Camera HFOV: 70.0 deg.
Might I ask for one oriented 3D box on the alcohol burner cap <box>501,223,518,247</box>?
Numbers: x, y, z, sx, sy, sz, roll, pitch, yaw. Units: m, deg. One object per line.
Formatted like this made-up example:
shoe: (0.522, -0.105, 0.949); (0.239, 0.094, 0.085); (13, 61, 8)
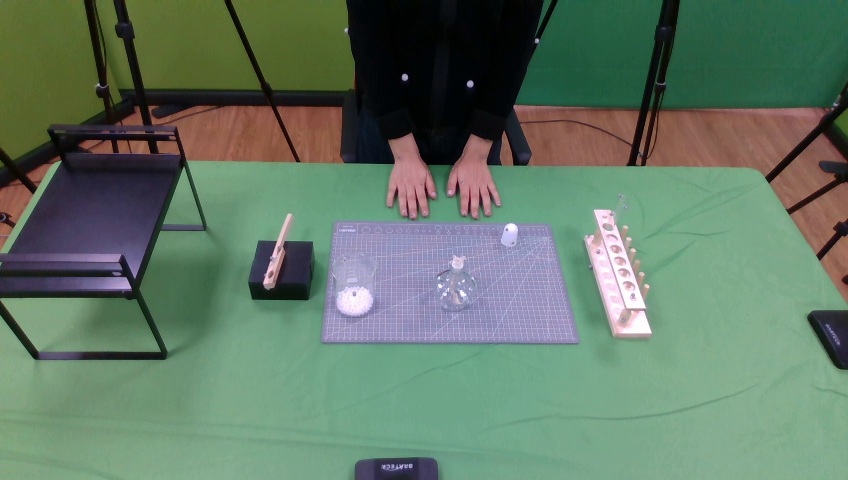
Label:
alcohol burner cap: (0.172, -0.013, 1.206); (0.034, 0.048, 0.033); (1, 46, -1)

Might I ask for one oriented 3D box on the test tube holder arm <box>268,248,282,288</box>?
test tube holder arm: (-0.262, 0.048, 1.068); (0.010, 0.015, 0.087); (3, 45, -2)

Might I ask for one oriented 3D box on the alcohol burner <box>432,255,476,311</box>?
alcohol burner: (0.055, 0.070, 1.068); (0.078, 0.119, 0.077); (3, 45, -3)

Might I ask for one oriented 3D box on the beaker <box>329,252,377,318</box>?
beaker: (-0.121, 0.080, 1.055); (0.084, 0.101, 0.073); (-16, 50, -19)

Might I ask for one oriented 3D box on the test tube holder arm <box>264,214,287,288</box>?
test tube holder arm: (-0.268, 0.016, 1.099); (0.013, 0.015, 0.177); (2, 45, -4)

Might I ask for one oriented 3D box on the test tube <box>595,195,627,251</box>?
test tube: (0.350, -0.029, 1.140); (0.017, 0.151, 0.017); (3, 50, -3)

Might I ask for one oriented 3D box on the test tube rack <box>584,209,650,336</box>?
test tube rack: (0.365, 0.056, 1.129); (0.067, 0.085, 0.240); (1, 46, -4)
